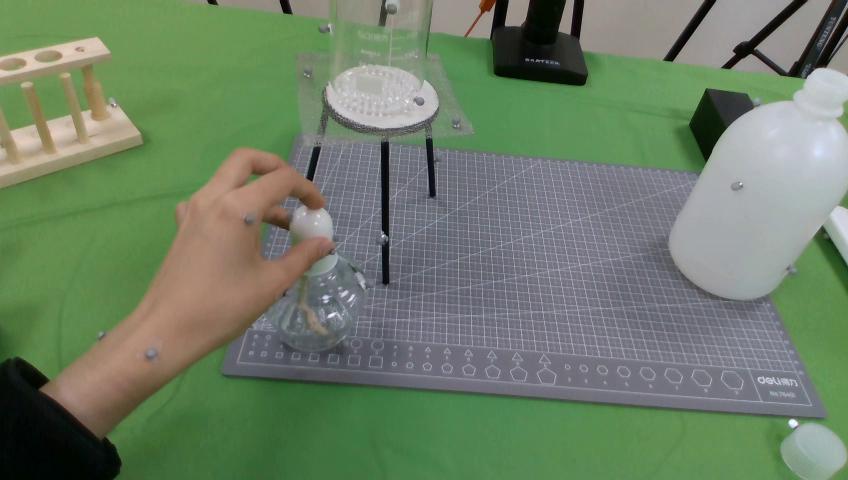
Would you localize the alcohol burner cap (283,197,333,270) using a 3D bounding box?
[{"bbox_3d":[-0.078,-0.006,0.399,0.034,0.048,0.033,3,46,-3],"label":"alcohol burner cap"}]

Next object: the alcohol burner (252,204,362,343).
[{"bbox_3d":[-0.082,0.018,0.426,0.078,0.120,0.077,6,44,-5],"label":"alcohol burner"}]

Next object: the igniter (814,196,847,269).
[{"bbox_3d":[0.404,0.056,0.528,0.057,0.025,0.274,14,44,-10],"label":"igniter"}]

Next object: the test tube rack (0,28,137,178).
[{"bbox_3d":[-0.391,-0.103,0.521,0.242,0.086,0.066,-27,55,-31],"label":"test tube rack"}]

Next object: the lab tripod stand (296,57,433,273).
[{"bbox_3d":[-0.042,-0.068,0.503,0.148,0.132,0.147,6,46,-6],"label":"lab tripod stand"}]

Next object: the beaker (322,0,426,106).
[{"bbox_3d":[-0.038,-0.153,0.425,0.084,0.101,0.073,0,47,-9],"label":"beaker"}]

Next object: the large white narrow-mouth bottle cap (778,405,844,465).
[{"bbox_3d":[0.275,0.139,0.431,0.038,0.024,0.037,4,45,-4],"label":"large white narrow-mouth bottle cap"}]

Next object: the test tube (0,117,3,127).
[{"bbox_3d":[-0.383,-0.156,0.505,0.017,0.151,0.017,5,41,-4],"label":"test tube"}]

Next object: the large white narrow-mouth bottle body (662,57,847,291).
[{"bbox_3d":[0.275,-0.054,0.494,0.102,0.196,0.101,4,45,-3],"label":"large white narrow-mouth bottle body"}]

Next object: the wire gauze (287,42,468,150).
[{"bbox_3d":[-0.039,-0.116,0.458,0.122,0.011,0.123,-6,51,-12],"label":"wire gauze"}]
